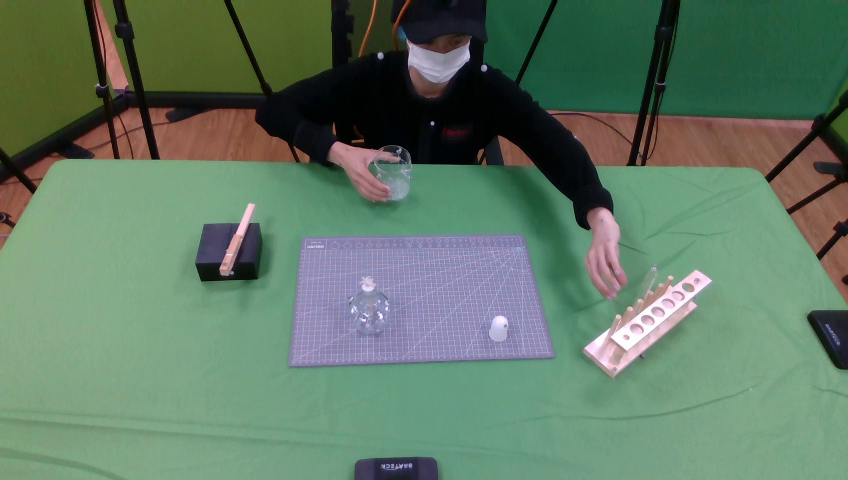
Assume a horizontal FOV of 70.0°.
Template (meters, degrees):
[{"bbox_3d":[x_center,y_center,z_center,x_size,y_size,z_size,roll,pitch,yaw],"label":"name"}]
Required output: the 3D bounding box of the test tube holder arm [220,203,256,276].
[{"bbox_3d":[-0.340,-0.005,1.112,0.015,0.013,0.177,5,46,2],"label":"test tube holder arm"}]

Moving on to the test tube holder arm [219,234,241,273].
[{"bbox_3d":[-0.344,0.023,1.076,0.015,0.010,0.087,5,45,2],"label":"test tube holder arm"}]

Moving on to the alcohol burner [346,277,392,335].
[{"bbox_3d":[-0.093,0.106,1.021,0.078,0.120,0.077,1,46,-1],"label":"alcohol burner"}]

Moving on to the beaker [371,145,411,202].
[{"bbox_3d":[-0.064,-0.131,1.237,0.084,0.101,0.074,25,60,14],"label":"beaker"}]

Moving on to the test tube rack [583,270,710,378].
[{"bbox_3d":[0.389,0.133,1.057,0.242,0.085,0.066,-29,54,-28],"label":"test tube rack"}]

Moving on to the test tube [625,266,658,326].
[{"bbox_3d":[0.367,0.097,1.027,0.017,0.151,0.017,1,46,-1],"label":"test tube"}]

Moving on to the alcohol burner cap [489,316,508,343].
[{"bbox_3d":[0.130,0.151,1.045,0.034,0.048,0.033,2,46,-2],"label":"alcohol burner cap"}]
